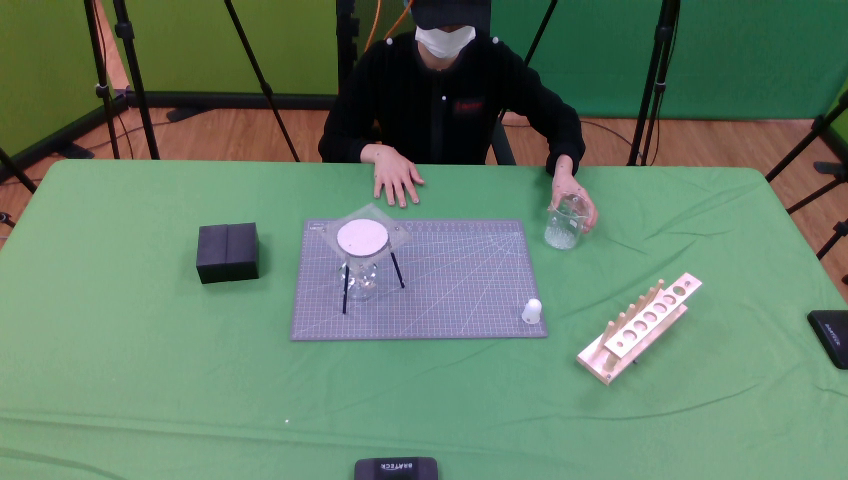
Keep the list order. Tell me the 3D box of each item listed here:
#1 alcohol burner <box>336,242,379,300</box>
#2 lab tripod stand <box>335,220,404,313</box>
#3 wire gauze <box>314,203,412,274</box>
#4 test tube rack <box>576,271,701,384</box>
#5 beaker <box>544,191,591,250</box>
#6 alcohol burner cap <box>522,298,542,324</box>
[{"bbox_3d":[-0.118,0.050,1.072,0.078,0.120,0.077,2,44,-1],"label":"alcohol burner"},{"bbox_3d":[-0.110,0.039,1.070,0.148,0.132,0.147,1,46,-1],"label":"lab tripod stand"},{"bbox_3d":[-0.103,-0.009,1.023,0.121,0.011,0.124,-29,53,-27],"label":"wire gauze"},{"bbox_3d":[0.373,0.138,1.047,0.242,0.085,0.066,-31,56,-29],"label":"test tube rack"},{"bbox_3d":[0.281,-0.035,1.199,0.083,0.101,0.074,31,52,23],"label":"beaker"},{"bbox_3d":[0.193,0.124,1.074,0.034,0.048,0.033,2,46,-1],"label":"alcohol burner cap"}]
